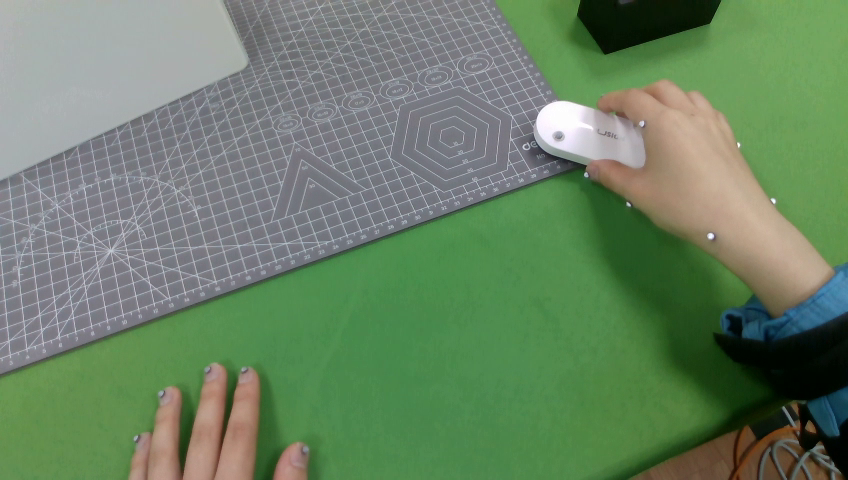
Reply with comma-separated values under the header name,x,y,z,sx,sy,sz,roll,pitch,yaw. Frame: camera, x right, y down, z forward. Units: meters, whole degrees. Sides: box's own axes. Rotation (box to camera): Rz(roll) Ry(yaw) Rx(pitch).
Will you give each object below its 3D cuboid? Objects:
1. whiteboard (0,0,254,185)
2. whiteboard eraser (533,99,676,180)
name,x,y,z,sx,sy,sz,roll,pitch,yaw
whiteboard,-0.289,-0.228,0.397,0.217,0.309,0.142,-29,46,-14
whiteboard eraser,0.130,-0.073,0.437,0.101,0.019,0.041,18,71,6
